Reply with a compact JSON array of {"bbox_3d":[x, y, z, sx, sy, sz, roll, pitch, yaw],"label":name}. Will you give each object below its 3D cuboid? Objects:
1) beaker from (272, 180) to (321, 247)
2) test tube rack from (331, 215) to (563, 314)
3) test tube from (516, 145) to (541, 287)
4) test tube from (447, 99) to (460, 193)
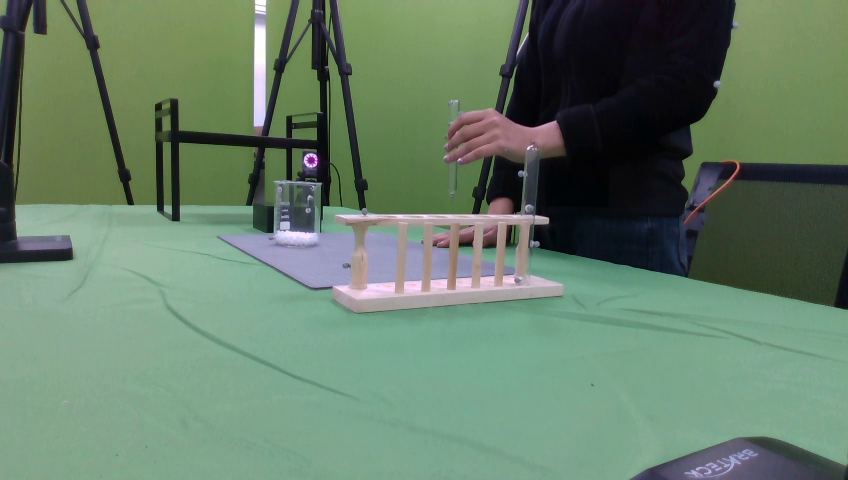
[{"bbox_3d":[-0.197,-0.042,0.944,0.073,0.100,0.084,7,8,29],"label":"beaker"},{"bbox_3d":[0.031,0.019,0.626,0.243,0.085,0.066,-1,8,-28],"label":"test tube rack"},{"bbox_3d":[0.110,-0.024,0.638,0.017,0.150,0.017,4,6,0],"label":"test tube"},{"bbox_3d":[0.047,-0.150,0.975,0.017,0.150,0.017,2,9,0],"label":"test tube"}]
